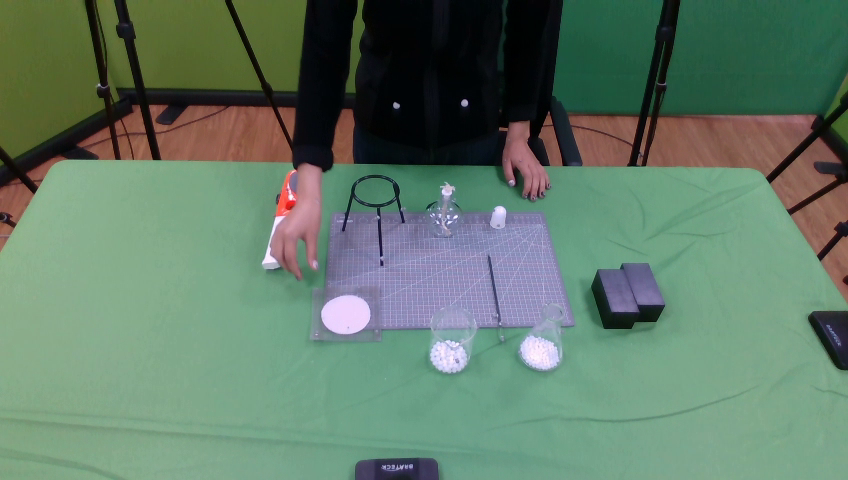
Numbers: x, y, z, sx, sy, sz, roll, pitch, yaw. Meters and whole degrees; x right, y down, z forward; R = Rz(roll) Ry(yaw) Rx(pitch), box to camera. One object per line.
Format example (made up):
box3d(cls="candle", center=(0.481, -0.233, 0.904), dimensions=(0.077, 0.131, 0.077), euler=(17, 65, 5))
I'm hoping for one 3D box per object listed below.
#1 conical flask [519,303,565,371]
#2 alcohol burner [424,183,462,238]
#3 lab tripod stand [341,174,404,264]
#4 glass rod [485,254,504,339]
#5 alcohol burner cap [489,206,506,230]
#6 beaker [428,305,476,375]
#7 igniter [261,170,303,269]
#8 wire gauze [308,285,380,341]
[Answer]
box3d(cls="conical flask", center=(0.201, 0.155, 0.997), dimensions=(0.075, 0.122, 0.075), euler=(2, 46, -2))
box3d(cls="alcohol burner", center=(0.039, -0.063, 1.197), dimensions=(0.078, 0.119, 0.077), euler=(2, 44, -2))
box3d(cls="lab tripod stand", center=(-0.093, -0.050, 1.160), dimensions=(0.148, 0.132, 0.147), euler=(2, 44, -2))
box3d(cls="glass rod", center=(0.129, 0.099, 1.119), dimensions=(0.008, 0.008, 0.198), euler=(-1, 46, -4))
box3d(cls="alcohol burner cap", center=(0.152, -0.047, 1.241), dimensions=(0.034, 0.048, 0.033), euler=(2, 45, -2))
box3d(cls="beaker", center=(0.044, 0.169, 0.987), dimensions=(0.074, 0.101, 0.083), euler=(1, 47, -3))
box3d(cls="igniter", center=(-0.284, -0.050, 1.222), dimensions=(0.057, 0.025, 0.275), euler=(-4, 46, 6))
box3d(cls="wire gauze", center=(-0.141, 0.128, 1.071), dimensions=(0.125, 0.011, 0.120), euler=(-1, 46, -5))
